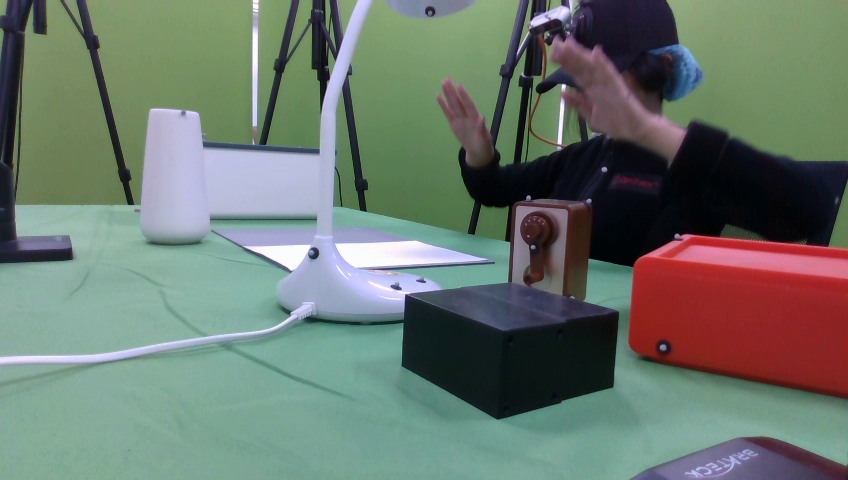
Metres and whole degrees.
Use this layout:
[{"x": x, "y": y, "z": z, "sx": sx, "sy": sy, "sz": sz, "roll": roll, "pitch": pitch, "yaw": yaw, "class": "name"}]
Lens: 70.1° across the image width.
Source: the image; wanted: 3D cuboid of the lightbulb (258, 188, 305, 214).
[{"x": -0.325, "y": -0.082, "z": 1.382, "sx": 0.108, "sy": 0.059, "sz": 0.059, "roll": -15, "pitch": 9, "yaw": -6, "class": "lightbulb"}]

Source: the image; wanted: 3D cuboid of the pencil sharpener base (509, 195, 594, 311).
[{"x": 0.126, "y": 0.011, "z": 0.601, "sx": 0.061, "sy": 0.107, "sz": 0.077, "roll": 7, "pitch": 9, "yaw": 30, "class": "pencil sharpener base"}]

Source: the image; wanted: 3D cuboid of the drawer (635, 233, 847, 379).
[{"x": 0.292, "y": 0.045, "z": 0.488, "sx": 0.193, "sy": 0.073, "sz": 0.213, "roll": 7, "pitch": 9, "yaw": 30, "class": "drawer"}]

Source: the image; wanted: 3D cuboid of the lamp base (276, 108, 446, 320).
[{"x": -0.061, "y": -0.027, "z": 0.556, "sx": 0.160, "sy": 0.180, "sz": 0.180, "roll": 4, "pitch": 10, "yaw": 20, "class": "lamp base"}]

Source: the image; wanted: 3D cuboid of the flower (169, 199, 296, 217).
[{"x": -0.423, "y": -0.069, "z": 1.399, "sx": 0.044, "sy": 0.038, "sz": 0.363, "roll": 2, "pitch": 2, "yaw": 31, "class": "flower"}]

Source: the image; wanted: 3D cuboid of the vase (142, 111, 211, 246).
[{"x": -0.378, "y": -0.093, "z": 0.920, "sx": 0.098, "sy": 0.200, "sz": 0.098, "roll": 2, "pitch": 9, "yaw": 0, "class": "vase"}]

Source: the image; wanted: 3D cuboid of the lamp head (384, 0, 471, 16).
[{"x": -0.001, "y": -0.301, "z": 0.599, "sx": 0.112, "sy": 0.112, "sz": 0.123, "roll": 4, "pitch": -30, "yaw": 14, "class": "lamp head"}]

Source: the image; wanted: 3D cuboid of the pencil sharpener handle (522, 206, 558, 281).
[{"x": 0.102, "y": 0.003, "z": 0.555, "sx": 0.036, "sy": 0.067, "sz": 0.031, "roll": 0, "pitch": 5, "yaw": 31, "class": "pencil sharpener handle"}]

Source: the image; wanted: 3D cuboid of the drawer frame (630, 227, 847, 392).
[{"x": 0.292, "y": 0.043, "z": 0.484, "sx": 0.201, "sy": 0.082, "sz": 0.214, "roll": 7, "pitch": 9, "yaw": 29, "class": "drawer frame"}]

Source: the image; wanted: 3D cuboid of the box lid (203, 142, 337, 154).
[{"x": -0.405, "y": -0.209, "z": 1.377, "sx": 0.373, "sy": 0.015, "sz": 0.262, "roll": -1, "pitch": 9, "yaw": -29, "class": "box lid"}]

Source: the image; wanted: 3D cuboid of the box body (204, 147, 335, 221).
[{"x": -0.411, "y": -0.135, "z": 1.386, "sx": 0.366, "sy": 0.160, "sz": 0.253, "roll": -2, "pitch": 9, "yaw": -29, "class": "box body"}]

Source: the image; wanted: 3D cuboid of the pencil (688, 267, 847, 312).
[{"x": 0.308, "y": 0.044, "z": 0.515, "sx": 0.194, "sy": 0.012, "sz": 0.012, "roll": 13, "pitch": 5, "yaw": -12, "class": "pencil"}]
